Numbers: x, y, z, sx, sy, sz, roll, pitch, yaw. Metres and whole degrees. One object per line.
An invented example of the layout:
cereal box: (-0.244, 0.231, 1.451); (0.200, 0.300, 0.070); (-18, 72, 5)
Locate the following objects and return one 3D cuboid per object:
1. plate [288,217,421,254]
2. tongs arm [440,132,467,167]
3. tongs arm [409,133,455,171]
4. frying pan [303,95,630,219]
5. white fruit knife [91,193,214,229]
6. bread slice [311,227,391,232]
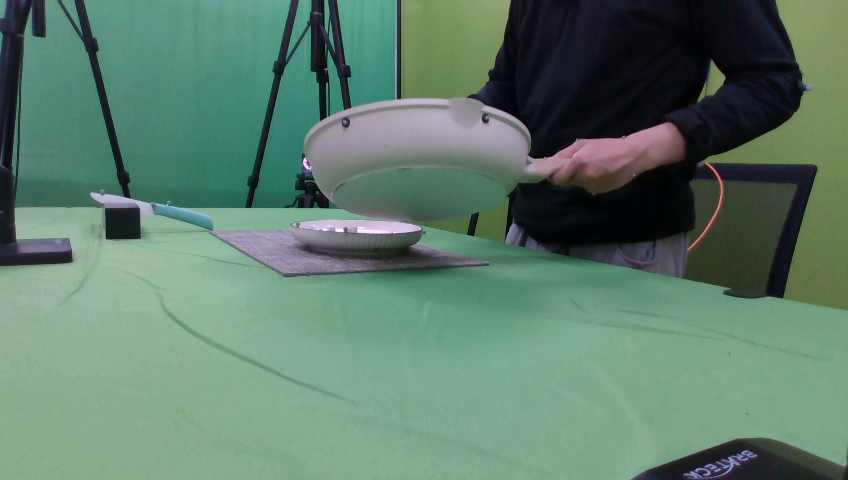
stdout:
plate: (-0.109, -0.008, 0.957); (0.208, 0.039, 0.207); (2, 8, 0)
tongs arm: (0.047, -0.149, 0.964); (0.028, 0.028, 0.387); (-11, 11, 10)
tongs arm: (0.019, -0.146, 0.968); (0.051, 0.026, 0.385); (-8, 12, 6)
frying pan: (0.087, -0.100, 0.820); (0.490, 0.102, 0.306); (-6, -10, -23)
white fruit knife: (-0.478, -0.055, 1.077); (0.208, 0.027, 0.016); (14, 0, -30)
bread slice: (-0.115, -0.005, 0.950); (0.134, 0.018, 0.107); (3, 6, -7)
